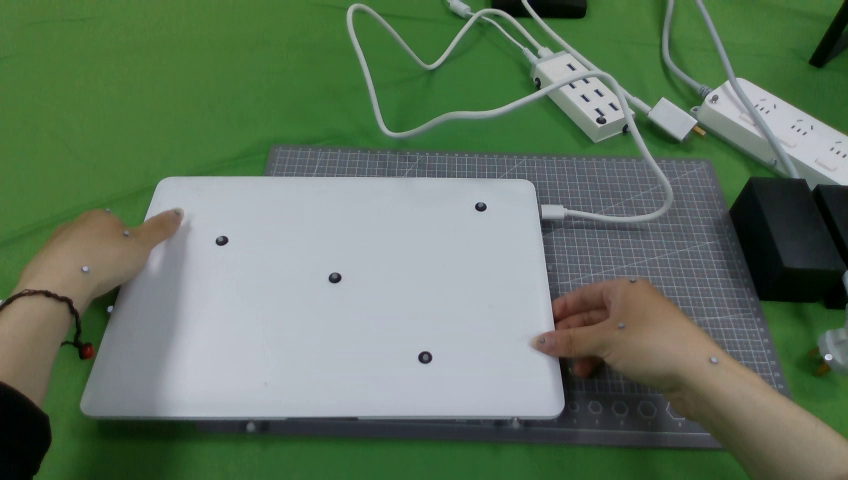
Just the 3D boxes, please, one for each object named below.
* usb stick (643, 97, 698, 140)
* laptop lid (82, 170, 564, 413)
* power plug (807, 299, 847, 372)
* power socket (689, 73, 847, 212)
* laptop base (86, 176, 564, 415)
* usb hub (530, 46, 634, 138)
[{"bbox_3d":[0.263,-0.126,0.635,0.059,0.027,0.021,31,14,4],"label":"usb stick"},{"bbox_3d":[-0.073,0.030,0.501,0.357,0.013,0.239,1,54,1],"label":"laptop lid"},{"bbox_3d":[0.330,0.073,0.479,0.035,0.053,0.072,40,47,5],"label":"power plug"},{"bbox_3d":[0.382,-0.098,0.613,0.072,0.033,0.224,-34,61,-24],"label":"power socket"},{"bbox_3d":[-0.073,0.037,0.513,0.354,0.023,0.233,0,55,0],"label":"laptop base"},{"bbox_3d":[0.170,-0.165,0.663,0.049,0.025,0.124,-23,57,-17],"label":"usb hub"}]
